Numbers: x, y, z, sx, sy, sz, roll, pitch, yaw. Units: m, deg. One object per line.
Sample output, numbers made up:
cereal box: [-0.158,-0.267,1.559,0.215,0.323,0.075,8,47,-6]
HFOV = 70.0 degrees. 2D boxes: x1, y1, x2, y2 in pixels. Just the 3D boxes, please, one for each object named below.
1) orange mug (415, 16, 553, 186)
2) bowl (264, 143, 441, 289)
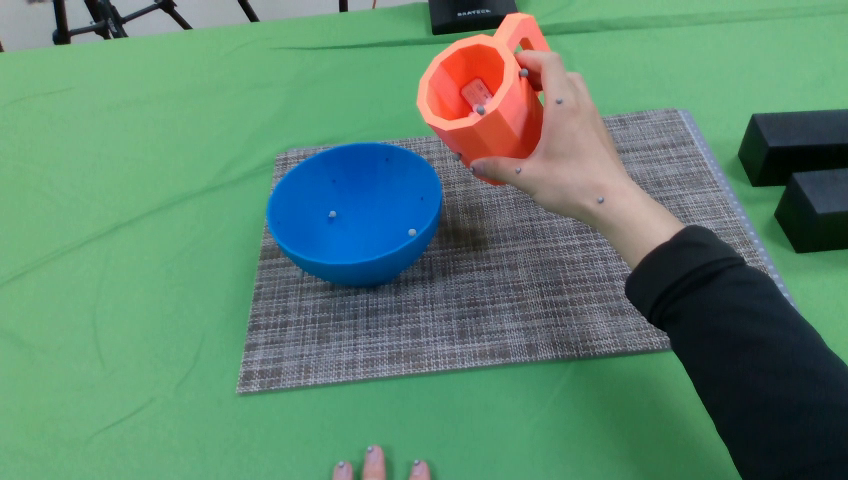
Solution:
orange mug: [0.062,-0.121,0.513,0.082,0.102,0.126,29,90,37]
bowl: [-0.056,-0.009,0.539,0.151,0.077,0.150,-4,47,4]
